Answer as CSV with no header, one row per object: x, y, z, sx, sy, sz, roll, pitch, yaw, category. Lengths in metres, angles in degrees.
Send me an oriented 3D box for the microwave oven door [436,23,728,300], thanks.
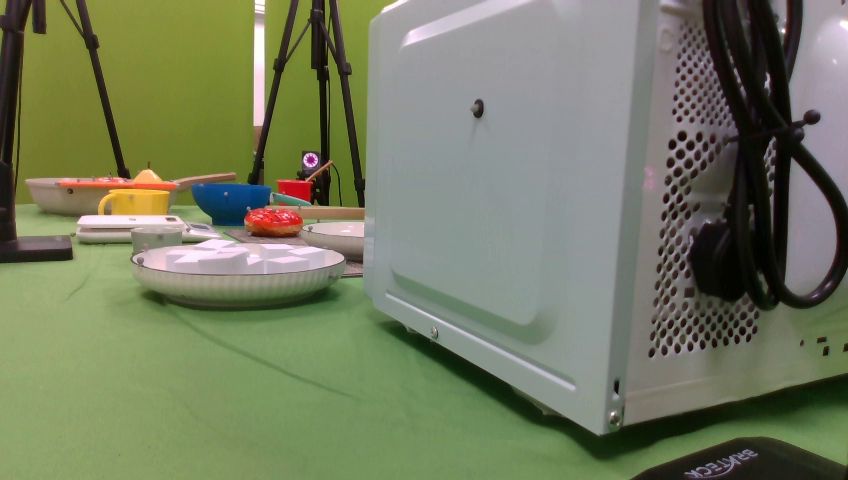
0.180,-0.072,0.621,0.358,0.243,0.039,-2,9,-29,microwave oven door

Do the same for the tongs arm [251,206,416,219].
-0.211,-0.066,1.440,0.389,0.027,0.028,0,-2,-17,tongs arm

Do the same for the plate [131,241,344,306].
-0.187,0.033,0.625,0.208,0.039,0.207,2,8,0,plate

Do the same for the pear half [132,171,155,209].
-0.636,-0.113,1.362,0.031,0.088,0.070,3,13,1,pear half

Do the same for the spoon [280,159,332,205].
-0.317,-0.159,1.640,0.194,0.022,0.041,-50,32,-20,spoon

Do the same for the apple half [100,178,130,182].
-0.638,-0.093,1.265,0.053,0.074,0.081,7,5,10,apple half

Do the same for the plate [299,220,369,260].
-0.078,-0.001,0.890,0.209,0.038,0.209,2,8,0,plate

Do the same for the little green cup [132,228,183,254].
-0.342,0.006,0.779,0.061,0.038,0.061,2,8,0,little green cup

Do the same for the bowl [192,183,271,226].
-0.382,-0.070,1.202,0.151,0.077,0.151,3,7,0,bowl

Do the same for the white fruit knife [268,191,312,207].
-0.364,-0.105,1.464,0.208,0.027,0.016,15,0,-34,white fruit knife

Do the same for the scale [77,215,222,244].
-0.434,-0.019,0.963,0.202,0.031,0.148,-1,9,-27,scale

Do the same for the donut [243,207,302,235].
-0.261,-0.032,1.043,0.099,0.048,0.099,4,9,0,donut

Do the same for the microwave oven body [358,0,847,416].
0.211,-0.047,0.475,0.444,0.260,0.324,-1,7,-28,microwave oven body

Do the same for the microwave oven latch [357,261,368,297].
-0.019,0.033,0.531,0.079,0.029,0.030,-1,7,-27,microwave oven latch

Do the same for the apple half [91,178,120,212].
-0.677,-0.096,1.271,0.033,0.081,0.081,7,8,10,apple half

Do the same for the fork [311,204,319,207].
-0.356,-0.105,1.526,0.208,0.018,0.028,16,-5,-41,fork

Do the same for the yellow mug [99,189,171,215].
-0.519,-0.055,1.080,0.099,0.064,0.131,7,10,26,yellow mug

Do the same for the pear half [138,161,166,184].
-0.602,-0.120,1.354,0.056,0.110,0.076,4,11,5,pear half

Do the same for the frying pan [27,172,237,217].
-0.624,-0.118,1.387,0.305,0.102,0.490,8,17,32,frying pan

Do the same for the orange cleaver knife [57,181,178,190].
-0.600,-0.109,1.189,0.212,0.012,0.077,-1,11,-26,orange cleaver knife

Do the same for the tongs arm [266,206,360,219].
-0.173,-0.061,1.362,0.387,0.026,0.050,-1,2,-31,tongs arm
